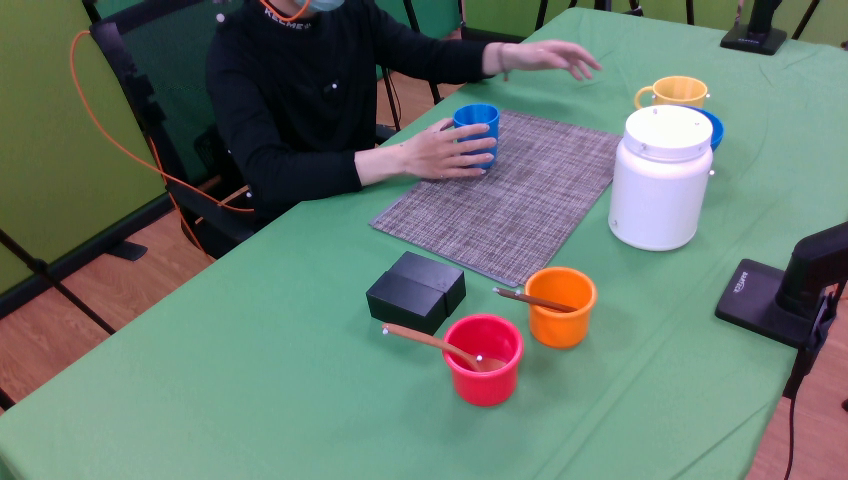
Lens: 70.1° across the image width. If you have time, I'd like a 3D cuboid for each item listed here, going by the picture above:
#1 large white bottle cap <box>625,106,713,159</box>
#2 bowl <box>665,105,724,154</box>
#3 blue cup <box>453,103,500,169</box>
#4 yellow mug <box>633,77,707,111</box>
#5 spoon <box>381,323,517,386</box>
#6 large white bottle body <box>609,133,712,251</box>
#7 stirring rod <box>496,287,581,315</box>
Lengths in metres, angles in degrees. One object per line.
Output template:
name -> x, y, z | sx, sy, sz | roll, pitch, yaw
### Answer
large white bottle cap -> 0.342, -0.153, 0.848 | 0.115, 0.018, 0.114 | -4, 41, 4
bowl -> 0.438, -0.166, 1.063 | 0.151, 0.077, 0.150 | -4, 41, 4
blue cup -> 0.100, -0.188, 1.114 | 0.092, 0.100, 0.092 | -5, 39, 4
yellow mug -> 0.479, -0.270, 1.186 | 0.130, 0.064, 0.100 | 10, 44, 21
spoon -> 0.033, 0.133, 0.722 | 0.195, 0.021, 0.041 | 29, 33, -26
large white bottle body -> 0.351, -0.090, 0.904 | 0.130, 0.185, 0.130 | -5, 41, 4
stirring rod -> 0.150, 0.080, 0.774 | 0.178, 0.006, 0.014 | 17, 21, -42
